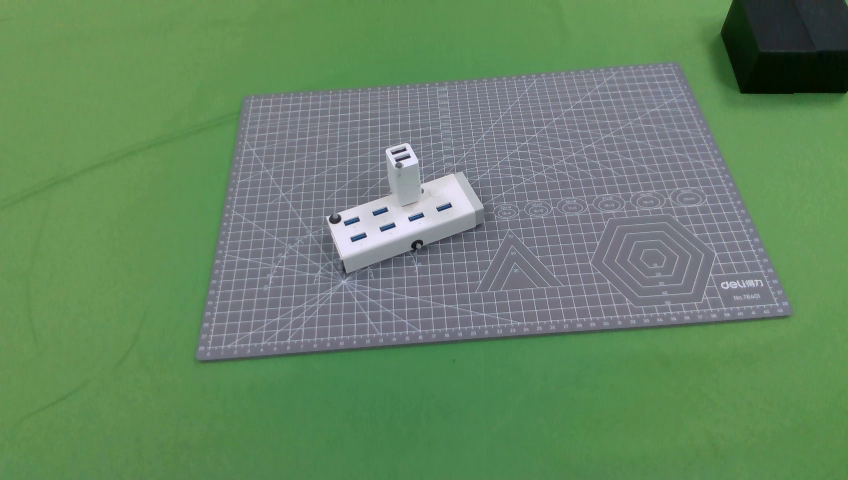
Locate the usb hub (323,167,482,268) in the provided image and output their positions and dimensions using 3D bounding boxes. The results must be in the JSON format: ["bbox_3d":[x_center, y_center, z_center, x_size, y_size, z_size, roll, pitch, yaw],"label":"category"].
[{"bbox_3d":[-0.018,-0.021,0.508,0.125,0.025,0.049,-19,55,-11],"label":"usb hub"}]

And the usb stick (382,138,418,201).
[{"bbox_3d":[-0.018,-0.052,0.493,0.021,0.060,0.027,-19,52,-12],"label":"usb stick"}]
